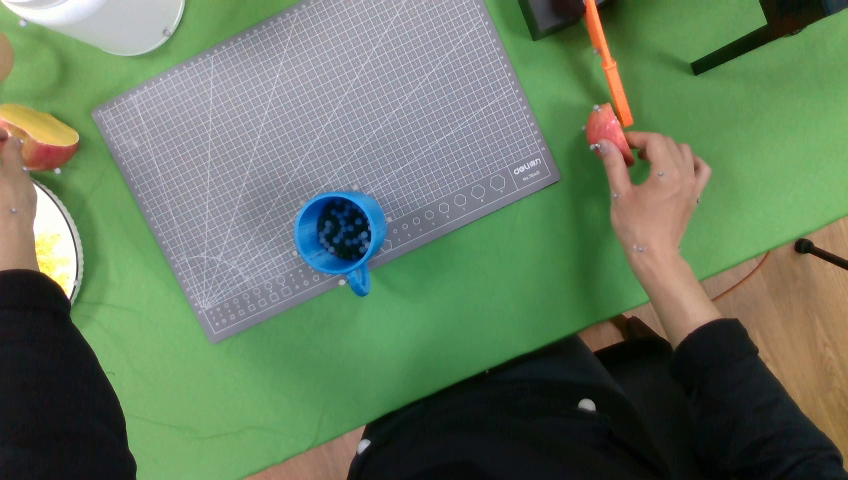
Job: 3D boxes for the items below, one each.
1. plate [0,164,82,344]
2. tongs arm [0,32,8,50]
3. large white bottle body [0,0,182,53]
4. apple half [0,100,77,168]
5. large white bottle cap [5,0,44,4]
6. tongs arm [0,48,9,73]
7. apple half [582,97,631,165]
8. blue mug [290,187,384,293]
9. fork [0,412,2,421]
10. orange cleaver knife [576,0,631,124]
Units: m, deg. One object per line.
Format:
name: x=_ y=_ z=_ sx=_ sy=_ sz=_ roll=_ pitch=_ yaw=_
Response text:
plate: x=-0.491 y=0.014 z=0.693 sx=0.209 sy=0.038 sz=0.209 roll=0 pitch=97 yaw=2
tongs arm: x=-0.621 y=-0.270 z=0.633 sx=0.387 sy=0.028 sz=0.028 roll=17 pitch=90 yaw=1
large white bottle body: x=-0.333 y=-0.265 z=0.583 sx=0.130 sy=0.184 sz=0.131 roll=0 pitch=96 yaw=2
apple half: x=-0.429 y=-0.108 z=0.659 sx=0.081 sy=0.074 sz=0.053 roll=32 pitch=105 yaw=-11
large white bottle cap: x=-0.337 y=-0.256 z=0.499 sx=0.115 sy=0.018 sz=0.115 roll=0 pitch=97 yaw=2
tongs arm: x=-0.633 y=-0.187 z=0.640 sx=0.385 sy=0.026 sz=0.051 roll=4 pitch=93 yaw=3
apple half: x=0.187 y=-0.110 z=0.639 sx=0.033 sy=0.081 sz=0.081 roll=-22 pitch=95 yaw=9
blue mug: x=-0.084 y=0.000 z=0.646 sx=0.082 sy=0.105 sz=0.117 roll=-17 pitch=96 yaw=3
fork: x=-0.588 y=0.225 z=0.664 sx=0.208 sy=0.018 sz=0.028 roll=-13 pitch=96 yaw=-41
orange cleaver knife: x=0.175 y=-0.220 z=0.628 sx=0.012 sy=0.076 sz=0.213 roll=-23 pitch=122 yaw=12
